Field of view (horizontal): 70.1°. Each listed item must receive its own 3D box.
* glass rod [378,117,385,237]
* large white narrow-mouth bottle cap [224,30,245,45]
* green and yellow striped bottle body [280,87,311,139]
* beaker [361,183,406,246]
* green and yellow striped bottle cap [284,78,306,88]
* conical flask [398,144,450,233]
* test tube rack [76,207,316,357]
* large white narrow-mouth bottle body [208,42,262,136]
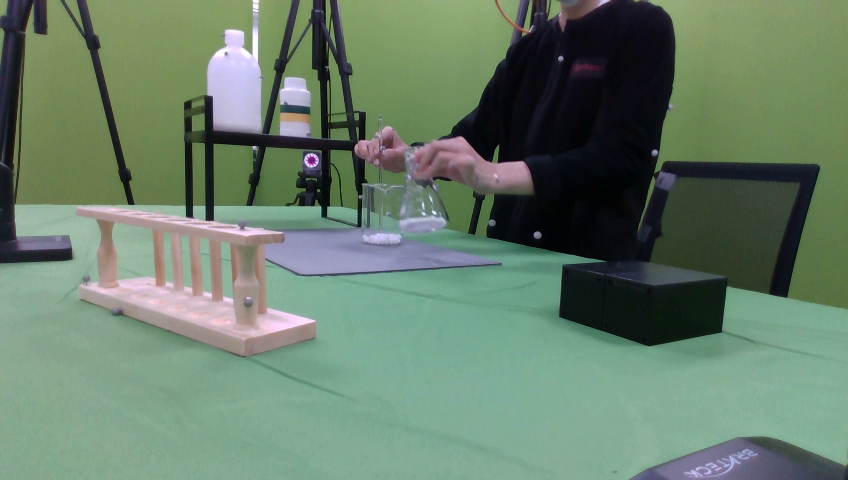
[{"bbox_3d":[-0.071,-0.103,1.008,0.008,0.199,0.008,-1,5,0],"label":"glass rod"},{"bbox_3d":[-0.365,-0.389,1.166,0.038,0.024,0.037,3,9,0],"label":"large white narrow-mouth bottle cap"},{"bbox_3d":[-0.269,-0.274,1.266,0.063,0.119,0.063,3,7,0],"label":"green and yellow striped bottle body"},{"bbox_3d":[-0.067,-0.042,0.993,0.074,0.100,0.084,1,8,-8],"label":"beaker"},{"bbox_3d":[-0.268,-0.325,1.259,0.045,0.020,0.045,5,7,0],"label":"green and yellow striped bottle cap"},{"bbox_3d":[-0.006,-0.076,0.879,0.075,0.121,0.075,-7,-13,-1],"label":"conical flask"},{"bbox_3d":[-0.196,0.023,0.500,0.241,0.085,0.067,8,9,36],"label":"test tube rack"},{"bbox_3d":[-0.369,-0.304,1.181,0.102,0.194,0.101,3,9,0],"label":"large white narrow-mouth bottle body"}]
